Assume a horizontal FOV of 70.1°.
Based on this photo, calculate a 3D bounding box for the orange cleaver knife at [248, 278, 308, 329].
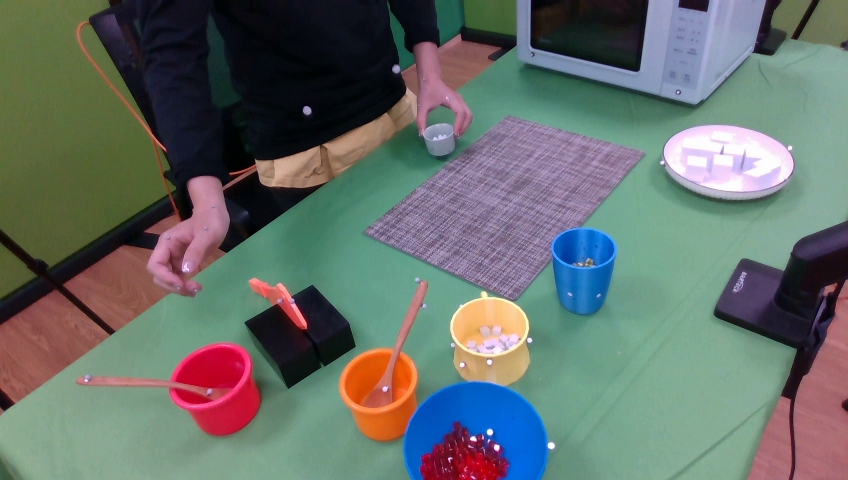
[{"bbox_3d":[-0.209,0.088,0.856,0.012,0.077,0.210,-35,17,-23],"label":"orange cleaver knife"}]

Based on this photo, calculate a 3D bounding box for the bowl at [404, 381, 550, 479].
[{"bbox_3d":[0.058,0.235,0.645,0.151,0.077,0.150,-4,39,4],"label":"bowl"}]

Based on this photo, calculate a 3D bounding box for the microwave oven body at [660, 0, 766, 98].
[{"bbox_3d":[0.472,-0.513,1.317,0.438,0.261,0.327,26,51,34],"label":"microwave oven body"}]

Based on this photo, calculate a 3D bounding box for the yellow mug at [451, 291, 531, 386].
[{"bbox_3d":[0.085,0.120,0.786,0.100,0.064,0.130,-7,39,1],"label":"yellow mug"}]

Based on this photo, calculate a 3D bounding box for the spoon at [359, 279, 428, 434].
[{"bbox_3d":[-0.032,0.138,0.719,0.041,0.193,0.022,22,4,30],"label":"spoon"}]

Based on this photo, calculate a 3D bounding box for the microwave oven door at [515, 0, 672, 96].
[{"bbox_3d":[0.343,-0.454,1.259,0.353,0.245,0.039,26,51,33],"label":"microwave oven door"}]

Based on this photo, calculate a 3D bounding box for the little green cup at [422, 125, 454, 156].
[{"bbox_3d":[0.029,-0.190,1.157,0.061,0.039,0.061,-5,35,4],"label":"little green cup"}]

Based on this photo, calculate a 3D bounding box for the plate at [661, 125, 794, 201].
[{"bbox_3d":[0.513,-0.128,1.035,0.207,0.039,0.206,-4,40,4],"label":"plate"}]

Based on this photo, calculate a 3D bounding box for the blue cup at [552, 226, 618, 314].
[{"bbox_3d":[0.217,0.047,0.825,0.092,0.100,0.092,-6,40,5],"label":"blue cup"}]

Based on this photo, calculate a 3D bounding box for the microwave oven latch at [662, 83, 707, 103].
[{"bbox_3d":[0.517,-0.296,1.204,0.078,0.029,0.030,27,52,35],"label":"microwave oven latch"}]

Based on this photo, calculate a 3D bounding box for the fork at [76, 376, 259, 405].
[{"bbox_3d":[-0.295,0.176,0.716,0.209,0.018,0.028,19,27,-36],"label":"fork"}]
